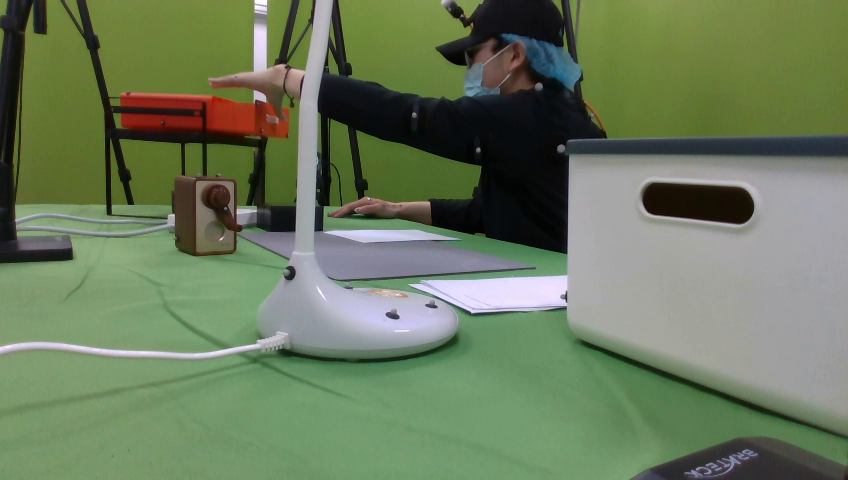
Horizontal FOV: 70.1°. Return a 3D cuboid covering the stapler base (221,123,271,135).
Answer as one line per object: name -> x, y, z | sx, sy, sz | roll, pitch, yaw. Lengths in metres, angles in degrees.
stapler base -> -0.395, -0.249, 1.353 | 0.041, 0.024, 0.131 | 0, 8, 24

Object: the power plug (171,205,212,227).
power plug -> -0.455, -0.040, 1.196 | 0.052, 0.035, 0.072 | 1, 43, 24

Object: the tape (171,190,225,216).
tape -> -0.517, -0.086, 1.389 | 0.117, 0.052, 0.117 | 4, 7, 0

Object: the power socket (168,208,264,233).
power socket -> -0.381, -0.038, 1.129 | 0.072, 0.032, 0.227 | 4, 8, 17

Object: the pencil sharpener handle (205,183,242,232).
pencil sharpener handle -> -0.265, -0.043, 0.813 | 0.036, 0.068, 0.030 | -32, 28, -35

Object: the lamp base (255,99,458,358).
lamp base -> -0.056, -0.013, 0.462 | 0.160, 0.180, 0.180 | 6, 11, 27

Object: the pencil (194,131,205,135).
pencil -> -0.427, -0.251, 1.352 | 0.012, 0.012, 0.195 | 8, 20, 36

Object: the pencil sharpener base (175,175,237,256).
pencil sharpener base -> -0.305, -0.035, 0.847 | 0.062, 0.107, 0.076 | -4, 10, -42

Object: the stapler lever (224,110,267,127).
stapler lever -> -0.396, -0.273, 1.348 | 0.027, 0.040, 0.118 | 0, 7, 24

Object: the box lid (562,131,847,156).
box lid -> 0.322, -0.064, 0.463 | 0.373, 0.015, 0.262 | -2, 9, -31

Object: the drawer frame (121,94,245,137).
drawer frame -> -0.529, -0.281, 1.376 | 0.213, 0.082, 0.202 | 3, 8, 7

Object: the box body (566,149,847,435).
box body -> 0.318, 0.009, 0.471 | 0.366, 0.160, 0.253 | -2, 8, -31

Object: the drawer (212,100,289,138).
drawer -> -0.437, -0.273, 1.365 | 0.211, 0.073, 0.194 | 3, 8, 8
